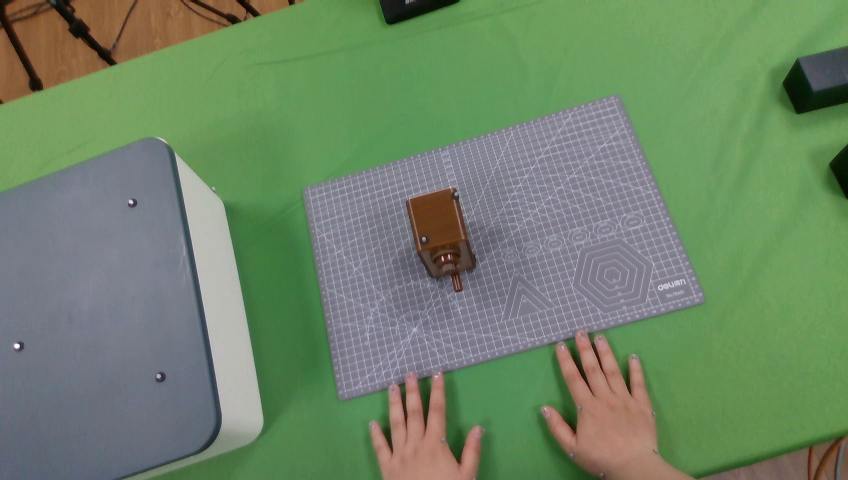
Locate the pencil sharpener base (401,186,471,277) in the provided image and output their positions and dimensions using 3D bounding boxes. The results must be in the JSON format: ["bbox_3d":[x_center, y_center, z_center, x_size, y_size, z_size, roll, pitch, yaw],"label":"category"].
[{"bbox_3d":[0.017,-0.004,0.728,0.061,0.108,0.076,-15,68,4],"label":"pencil sharpener base"}]

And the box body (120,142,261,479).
[{"bbox_3d":[-0.364,0.100,0.729,0.254,0.161,0.361,-19,68,2],"label":"box body"}]

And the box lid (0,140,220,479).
[{"bbox_3d":[-0.372,0.077,0.654,0.263,0.015,0.368,-19,69,1],"label":"box lid"}]

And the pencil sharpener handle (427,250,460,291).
[{"bbox_3d":[0.028,0.037,0.699,0.036,0.068,0.030,-17,68,9],"label":"pencil sharpener handle"}]
